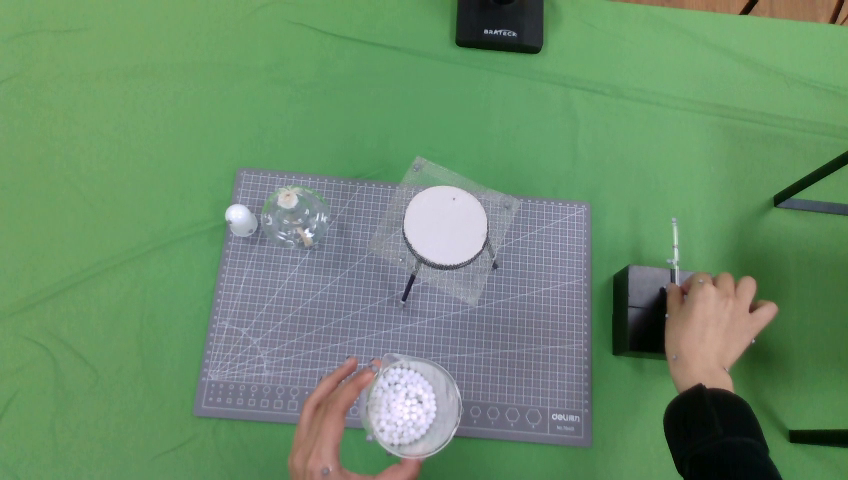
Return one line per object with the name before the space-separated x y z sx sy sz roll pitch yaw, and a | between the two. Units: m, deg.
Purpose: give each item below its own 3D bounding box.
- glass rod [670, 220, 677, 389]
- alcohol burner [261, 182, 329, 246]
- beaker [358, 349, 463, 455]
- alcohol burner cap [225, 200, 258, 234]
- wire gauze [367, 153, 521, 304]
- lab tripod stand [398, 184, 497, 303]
glass rod | 0.287 0.071 0.699 0.008 0.008 0.198 7 74 -2
alcohol burner | -0.148 -0.036 0.688 0.078 0.119 0.077 2 73 -5
beaker | -0.018 0.133 0.506 0.074 0.100 0.083 -26 81 -17
alcohol burner cap | -0.218 -0.029 0.717 0.034 0.048 0.033 1 73 -3
wire gauze | 0.021 -0.016 0.615 0.125 0.011 0.121 27 74 3
lab tripod stand | 0.021 0.001 0.680 0.148 0.132 0.147 2 72 -5
